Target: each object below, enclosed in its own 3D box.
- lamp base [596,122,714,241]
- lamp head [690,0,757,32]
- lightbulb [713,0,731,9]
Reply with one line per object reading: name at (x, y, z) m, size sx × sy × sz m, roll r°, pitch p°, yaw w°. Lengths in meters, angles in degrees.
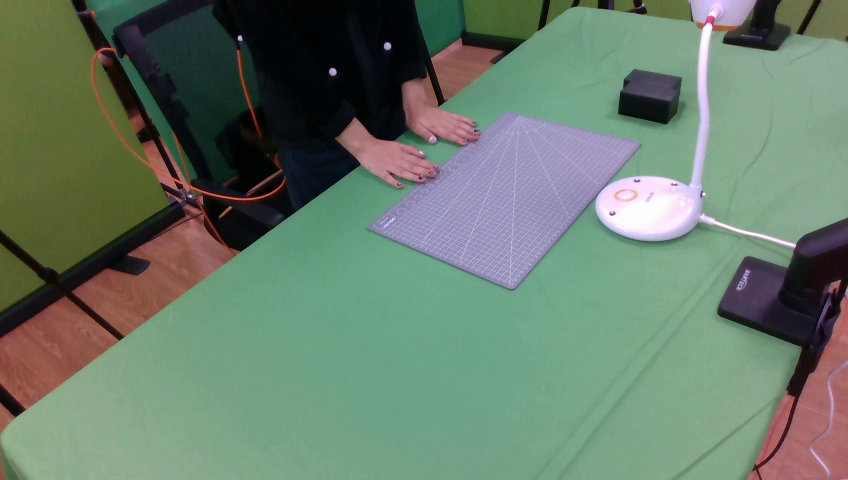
lamp base at (0.363, -0.110, 0.922) m, size 0.178 × 0.181 × 0.160 m, roll 13°, pitch 45°, yaw 21°
lamp head at (0.434, -0.363, 0.871) m, size 0.112 × 0.123 × 0.112 m, roll 2°, pitch 28°, yaw 0°
lightbulb at (0.432, -0.387, 0.864) m, size 0.059 × 0.108 × 0.059 m, roll -5°, pitch 31°, yaw 4°
